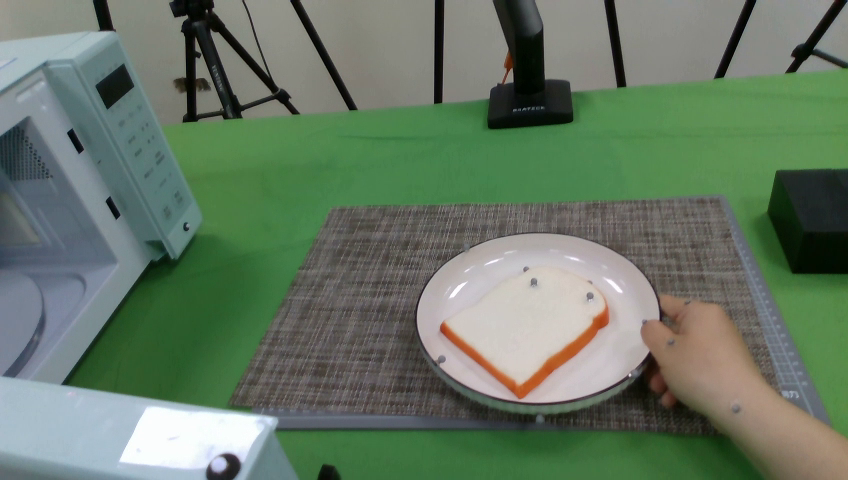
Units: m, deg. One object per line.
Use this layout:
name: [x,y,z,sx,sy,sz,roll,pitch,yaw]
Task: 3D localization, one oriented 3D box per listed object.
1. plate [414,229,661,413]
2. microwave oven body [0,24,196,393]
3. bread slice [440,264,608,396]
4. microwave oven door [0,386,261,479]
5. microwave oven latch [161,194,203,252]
plate: [0.096,0.067,0.531,0.209,0.038,0.207,-7,38,6]
microwave oven body: [-0.473,0.020,0.550,0.325,0.263,0.438,-2,39,11]
bread slice: [0.093,0.067,0.534,0.131,0.019,0.104,-31,42,-25]
microwave oven door: [-0.199,0.150,0.309,0.354,0.246,0.039,3,40,17]
microwave oven latch: [-0.290,-0.021,0.717,0.030,0.030,0.078,-1,39,12]
